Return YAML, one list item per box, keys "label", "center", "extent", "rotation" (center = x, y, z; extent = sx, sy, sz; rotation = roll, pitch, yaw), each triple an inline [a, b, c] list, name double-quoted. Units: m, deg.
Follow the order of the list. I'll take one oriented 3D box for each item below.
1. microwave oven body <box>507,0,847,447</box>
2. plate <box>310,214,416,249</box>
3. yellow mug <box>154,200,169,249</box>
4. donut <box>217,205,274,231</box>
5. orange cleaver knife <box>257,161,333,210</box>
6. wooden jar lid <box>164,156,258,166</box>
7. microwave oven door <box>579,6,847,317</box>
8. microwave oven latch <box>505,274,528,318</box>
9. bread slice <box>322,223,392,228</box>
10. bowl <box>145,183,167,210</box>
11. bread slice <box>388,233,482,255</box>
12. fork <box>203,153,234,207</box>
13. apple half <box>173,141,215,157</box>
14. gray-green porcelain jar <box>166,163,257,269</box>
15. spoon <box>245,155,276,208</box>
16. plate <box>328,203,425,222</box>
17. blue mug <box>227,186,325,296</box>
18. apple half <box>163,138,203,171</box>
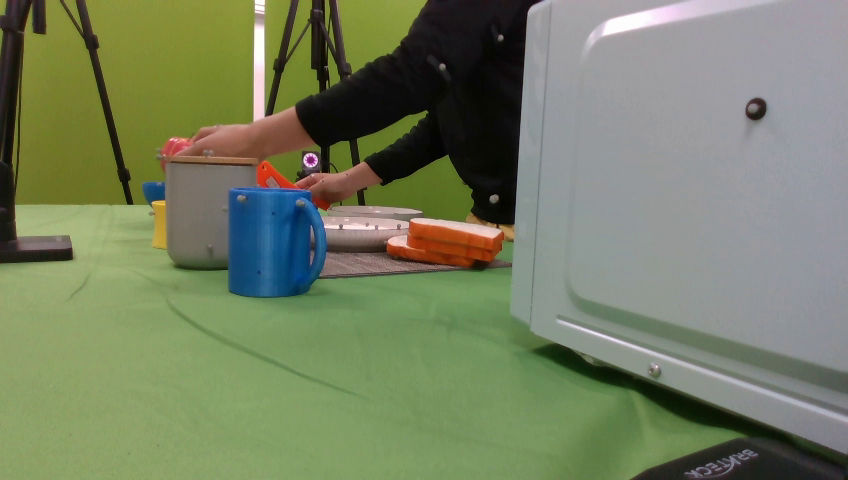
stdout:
- label: "microwave oven body"
  center: [0.331, -0.042, 0.425]
  extent: [0.444, 0.260, 0.324]
  rotation: [-2, 8, -31]
- label: "plate"
  center: [-0.117, -0.014, 0.967]
  extent: [0.208, 0.039, 0.207]
  rotation: [2, 7, 0]
- label: "yellow mug"
  center: [-0.337, -0.023, 0.899]
  extent: [0.130, 0.064, 0.100]
  rotation: [8, 10, 35]
- label: "donut"
  center: [-0.318, -0.038, 1.081]
  extent: [0.099, 0.048, 0.099]
  rotation: [3, 7, 0]
- label: "orange cleaver knife"
  center: [-0.291, -0.100, 1.328]
  extent: [0.212, 0.077, 0.012]
  rotation: [31, -13, -38]
- label: "wooden jar lid"
  center: [-0.261, -0.093, 0.746]
  extent: [0.108, 0.020, 0.108]
  rotation: [1, 9, 0]
- label: "microwave oven door"
  center: [0.294, -0.067, 0.570]
  extent: [0.358, 0.243, 0.039]
  rotation: [-3, 9, -31]
- label: "microwave oven latch"
  center: [0.100, 0.041, 0.472]
  extent: [0.079, 0.029, 0.030]
  rotation: [-2, 8, -29]
- label: "bread slice"
  center: [-0.116, -0.013, 0.975]
  extent: [0.135, 0.018, 0.106]
  rotation: [-6, 11, -42]
- label: "bowl"
  center: [-0.459, -0.068, 1.175]
  extent: [0.151, 0.077, 0.151]
  rotation: [3, 7, 0]
- label: "bread slice"
  center: [0.016, 0.005, 0.865]
  extent: [0.131, 0.019, 0.105]
  rotation: [4, 5, 9]
- label: "fork"
  center: [-0.480, -0.134, 1.411]
  extent: [0.028, 0.018, 0.207]
  rotation: [1, -35, 0]
- label: "apple half"
  center: [-0.379, -0.127, 1.015]
  extent: [0.032, 0.081, 0.082]
  rotation: [18, 16, 34]
- label: "gray-green porcelain jar"
  center: [-0.263, -0.032, 0.754]
  extent: [0.106, 0.126, 0.106]
  rotation: [2, 7, 0]
- label: "spoon"
  center: [-0.421, -0.150, 1.540]
  extent: [0.042, 0.193, 0.021]
  rotation: [-5, -35, -37]
- label: "plate"
  center: [-0.102, -0.053, 1.299]
  extent: [0.209, 0.038, 0.209]
  rotation: [2, 8, 0]
- label: "blue mug"
  center: [-0.146, 0.000, 0.618]
  extent: [0.116, 0.106, 0.083]
  rotation: [7, 9, 32]
- label: "apple half"
  center: [-0.411, -0.138, 1.036]
  extent: [0.053, 0.074, 0.081]
  rotation: [17, 15, 34]
